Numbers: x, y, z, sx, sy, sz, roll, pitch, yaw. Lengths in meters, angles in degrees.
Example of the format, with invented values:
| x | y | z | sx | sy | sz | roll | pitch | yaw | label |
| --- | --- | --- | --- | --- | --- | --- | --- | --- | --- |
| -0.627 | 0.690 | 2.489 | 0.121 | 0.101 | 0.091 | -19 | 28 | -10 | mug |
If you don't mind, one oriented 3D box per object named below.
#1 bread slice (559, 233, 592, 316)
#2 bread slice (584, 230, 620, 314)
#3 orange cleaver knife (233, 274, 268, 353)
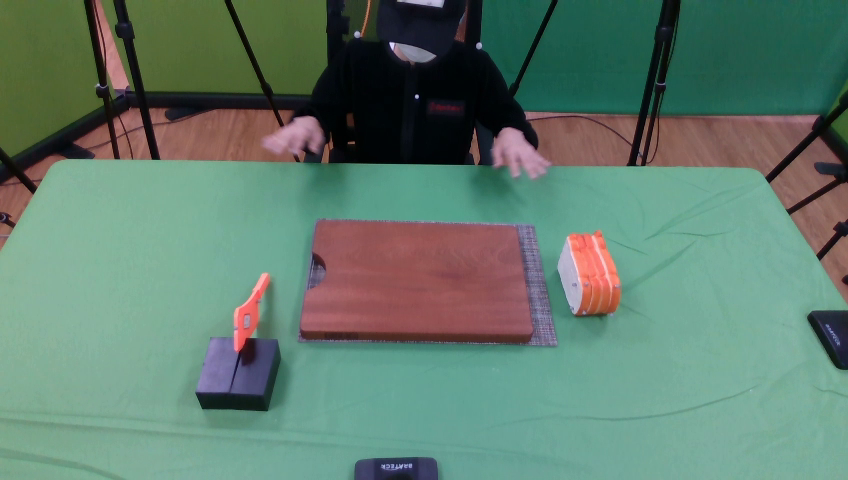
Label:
| x | y | z | sx | sy | sz | roll | pitch | yaw | label |
| --- | --- | --- | --- | --- | --- | --- | --- | --- | --- |
| 0.272 | 0.068 | 1.096 | 0.019 | 0.105 | 0.130 | -4 | 53 | -3 | bread slice |
| 0.322 | 0.067 | 1.103 | 0.018 | 0.107 | 0.133 | -8 | 55 | -3 | bread slice |
| -0.291 | 0.118 | 1.020 | 0.012 | 0.077 | 0.210 | 1 | 18 | -1 | orange cleaver knife |
